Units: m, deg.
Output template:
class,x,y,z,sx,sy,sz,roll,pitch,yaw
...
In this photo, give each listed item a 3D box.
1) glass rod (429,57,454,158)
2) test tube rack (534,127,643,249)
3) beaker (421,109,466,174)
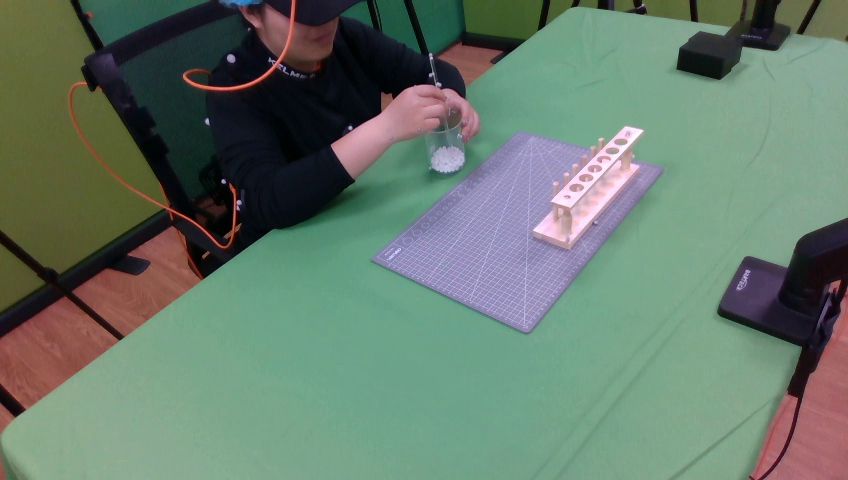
class,x,y,z,sx,sy,sz,roll,pitch,yaw
glass rod,0.032,-0.231,1.079,0.008,0.201,0.008,-9,39,8
test tube rack,0.271,-0.094,0.990,0.066,0.085,0.243,23,50,34
beaker,0.040,-0.182,1.122,0.073,0.101,0.084,9,47,20
